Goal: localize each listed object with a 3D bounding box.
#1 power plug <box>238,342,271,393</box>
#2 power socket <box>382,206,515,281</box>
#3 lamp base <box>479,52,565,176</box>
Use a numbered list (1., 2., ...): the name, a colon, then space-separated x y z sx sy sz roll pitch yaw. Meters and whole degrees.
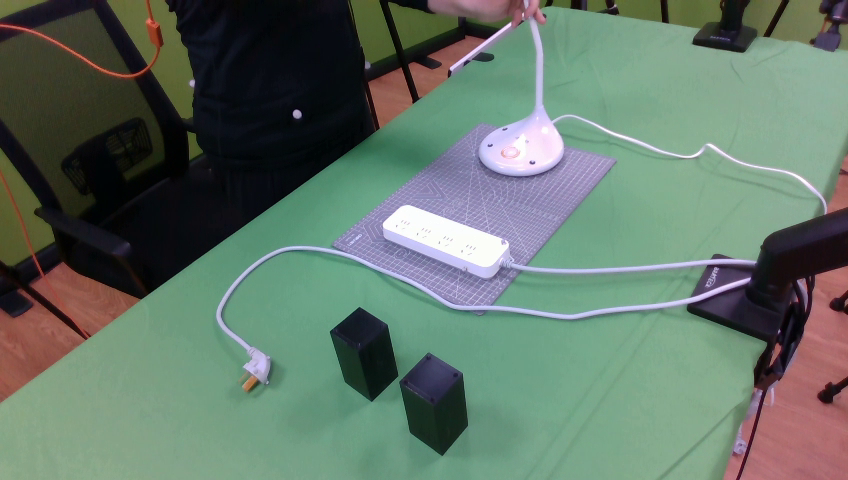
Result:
1. power plug: -0.230 0.172 0.801 0.072 0.035 0.053 9 51 50
2. power socket: 0.032 0.002 0.950 0.225 0.033 0.072 21 49 29
3. lamp base: 0.181 -0.235 1.094 0.159 0.181 0.179 18 44 27
